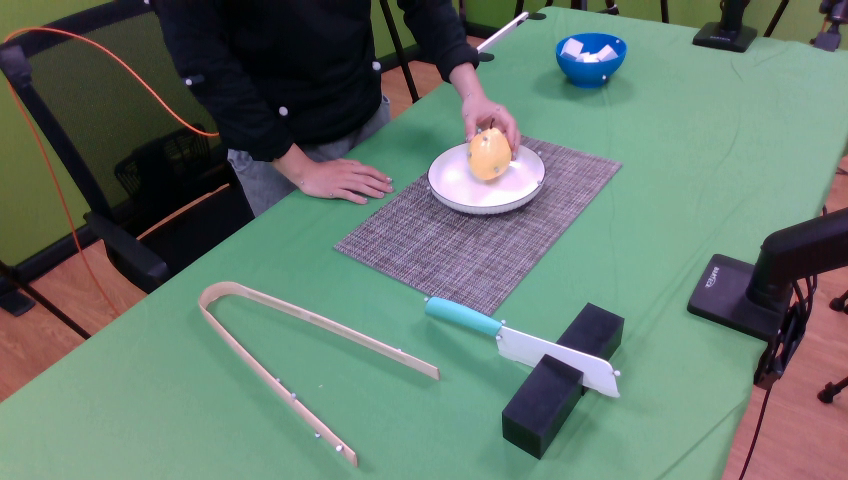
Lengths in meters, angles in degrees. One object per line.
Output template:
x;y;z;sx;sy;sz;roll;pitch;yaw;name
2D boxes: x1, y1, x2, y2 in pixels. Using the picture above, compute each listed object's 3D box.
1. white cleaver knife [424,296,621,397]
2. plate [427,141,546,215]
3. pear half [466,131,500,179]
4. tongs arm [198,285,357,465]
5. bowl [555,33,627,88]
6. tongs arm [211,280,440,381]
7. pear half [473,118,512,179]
0.110;0.132;0.761;0.284;0.066;0.021;17;41;39;white cleaver knife
0.109;-0.107;1.058;0.207;0.039;0.206;-4;41;4;plate
0.094;-0.139;1.014;0.070;0.088;0.031;33;49;25;pear half
-0.200;0.162;0.797;0.381;0.026;0.051;28;50;35;tongs arm
0.360;-0.384;1.318;0.151;0.077;0.150;-4;41;4;bowl
-0.148;0.121;0.845;0.385;0.028;0.028;17;48;25;tongs arm
0.119;-0.163;1.027;0.076;0.110;0.056;35;51;25;pear half
